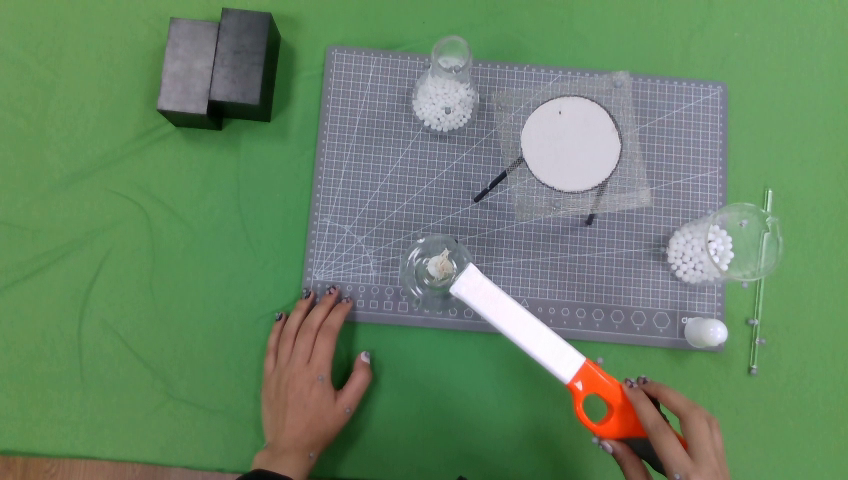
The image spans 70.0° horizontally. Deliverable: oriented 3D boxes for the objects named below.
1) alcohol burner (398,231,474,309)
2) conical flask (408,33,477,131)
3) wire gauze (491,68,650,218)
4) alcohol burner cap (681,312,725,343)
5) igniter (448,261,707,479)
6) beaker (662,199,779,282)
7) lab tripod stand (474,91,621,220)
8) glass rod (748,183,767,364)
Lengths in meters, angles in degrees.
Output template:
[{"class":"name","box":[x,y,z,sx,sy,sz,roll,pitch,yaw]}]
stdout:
[{"class":"alcohol burner","box":[0.012,0.027,0.588,0.078,0.119,0.077,0,81,0]},{"class":"conical flask","box":[0.021,-0.162,0.608,0.075,0.122,0.075,0,82,-1]},{"class":"wire gauze","box":[0.128,-0.084,0.528,0.125,0.011,0.121,-8,83,-3]},{"class":"alcohol burner cap","box":[0.292,0.090,0.627,0.034,0.048,0.034,0,82,-2]},{"class":"igniter","box":[0.134,0.117,0.518,0.276,0.025,0.057,40,84,-1]},{"class":"beaker","box":[0.294,0.003,0.609,0.084,0.100,0.074,-32,85,-6]},{"class":"lab tripod stand","box":[0.125,-0.077,0.596,0.148,0.131,0.148,0,84,-1]},{"class":"glass rod","box":[0.363,0.034,0.657,0.008,0.008,0.199,9,82,-1]}]
